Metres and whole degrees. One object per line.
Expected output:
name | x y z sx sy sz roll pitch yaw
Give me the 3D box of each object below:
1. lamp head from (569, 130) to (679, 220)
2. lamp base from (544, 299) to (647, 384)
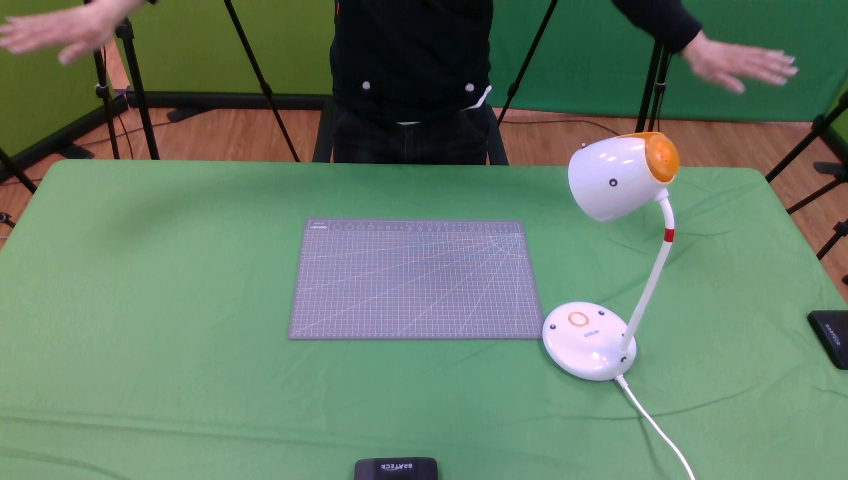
lamp head | 0.272 -0.090 0.798 0.113 0.122 0.112 7 78 -33
lamp base | 0.299 0.124 0.984 0.161 0.181 0.178 -23 55 -23
